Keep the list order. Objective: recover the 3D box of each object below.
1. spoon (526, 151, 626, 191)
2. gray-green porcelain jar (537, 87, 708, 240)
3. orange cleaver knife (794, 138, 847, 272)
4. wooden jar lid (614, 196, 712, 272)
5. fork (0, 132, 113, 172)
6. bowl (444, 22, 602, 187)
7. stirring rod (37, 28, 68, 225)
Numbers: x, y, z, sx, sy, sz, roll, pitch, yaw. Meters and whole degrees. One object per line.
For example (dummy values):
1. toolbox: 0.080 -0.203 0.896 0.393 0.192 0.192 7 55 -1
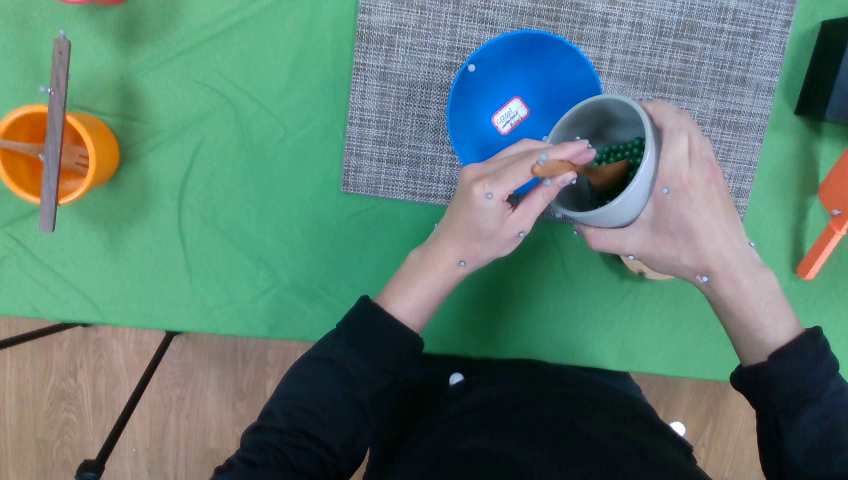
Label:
1. spoon: 0.126 -0.060 0.501 0.042 0.195 0.021 -47 64 28
2. gray-green porcelain jar: 0.179 -0.060 0.534 0.127 0.104 0.106 18 104 -40
3. orange cleaver knife: 0.450 -0.055 0.647 0.012 0.076 0.213 3 133 -8
4. wooden jar lid: 0.262 -0.017 0.670 0.108 0.020 0.109 -1 110 -2
5. fork: -0.384 -0.097 0.536 0.209 0.018 0.028 15 117 -52
6. bowl: 0.091 -0.132 0.598 0.151 0.076 0.152 -1 104 -4
7. stirring rod: -0.331 -0.098 0.539 0.014 0.006 0.176 11 104 -10
